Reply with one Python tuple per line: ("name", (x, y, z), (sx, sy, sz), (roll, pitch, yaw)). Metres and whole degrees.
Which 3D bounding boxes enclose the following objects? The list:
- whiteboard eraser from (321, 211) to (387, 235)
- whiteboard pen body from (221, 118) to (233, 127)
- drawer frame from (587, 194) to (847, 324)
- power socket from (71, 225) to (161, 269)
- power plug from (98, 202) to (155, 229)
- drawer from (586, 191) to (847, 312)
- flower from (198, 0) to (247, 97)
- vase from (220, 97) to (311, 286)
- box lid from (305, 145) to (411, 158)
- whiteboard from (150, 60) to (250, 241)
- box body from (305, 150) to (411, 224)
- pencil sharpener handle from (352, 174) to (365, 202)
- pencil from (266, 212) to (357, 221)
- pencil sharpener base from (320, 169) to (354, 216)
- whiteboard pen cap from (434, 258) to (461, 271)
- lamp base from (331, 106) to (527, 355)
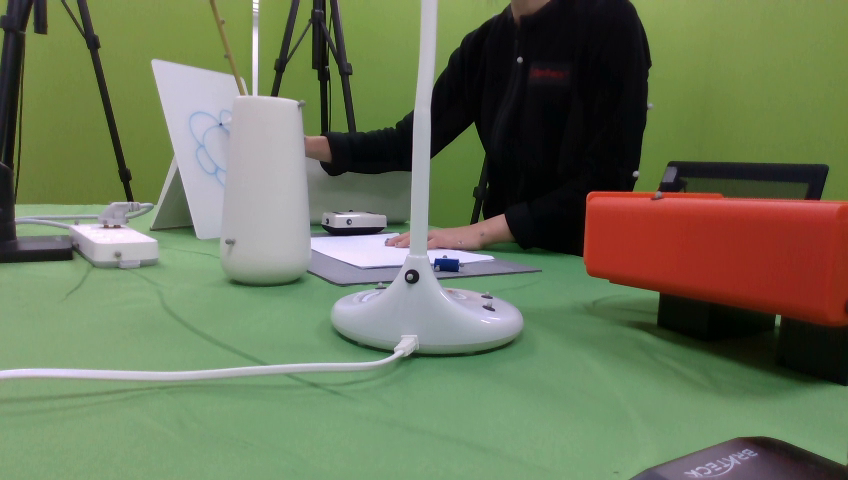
("whiteboard eraser", (-0.128, -0.031, 1.108), (0.113, 0.042, 0.055), (-3, 8, -38))
("whiteboard pen body", (-0.296, -0.212, 1.046), (0.140, 0.017, 0.017), (-8, 3, 22))
("drawer frame", (0.285, 0.004, 0.508), (0.203, 0.082, 0.212), (-1, 6, -29))
("power socket", (-0.408, 0.004, 0.793), (0.072, 0.032, 0.225), (-2, 8, -38))
("power plug", (-0.416, -0.026, 0.848), (0.073, 0.052, 0.035), (0, 8, -28))
("drawer", (0.281, 0.001, 0.513), (0.195, 0.073, 0.210), (-1, 8, -29))
("flower", (-0.187, -0.133, 0.648), (0.038, 0.362, 0.044), (0, 22, 43))
("vase", (-0.172, -0.052, 0.662), (0.098, 0.200, 0.098), (3, 8, 0))
("box lid", (-0.228, -0.200, 1.361), (0.373, 0.015, 0.262), (-1, 8, -33))
("whiteboard", (-0.408, -0.139, 1.093), (0.143, 0.305, 0.218), (-15, -1, 26))
("box body", (-0.230, -0.126, 1.372), (0.366, 0.160, 0.253), (-2, 9, -33))
("pencil sharpener handle", (-0.156, -0.125, 1.450), (0.031, 0.068, 0.036), (1, 20, -11))
("pencil", (-0.244, -0.049, 1.318), (0.195, 0.012, 0.012), (4, 7, -12))
("pencil sharpener base", (-0.207, -0.113, 1.439), (0.077, 0.107, 0.061), (1, 6, -11))
("whiteboard pen cap", (0.029, 0.031, 0.770), (0.033, 0.018, 0.018), (4, 8, 8))
("lamp base", (0.006, -0.012, 0.478), (0.161, 0.180, 0.179), (2, 10, 2))
